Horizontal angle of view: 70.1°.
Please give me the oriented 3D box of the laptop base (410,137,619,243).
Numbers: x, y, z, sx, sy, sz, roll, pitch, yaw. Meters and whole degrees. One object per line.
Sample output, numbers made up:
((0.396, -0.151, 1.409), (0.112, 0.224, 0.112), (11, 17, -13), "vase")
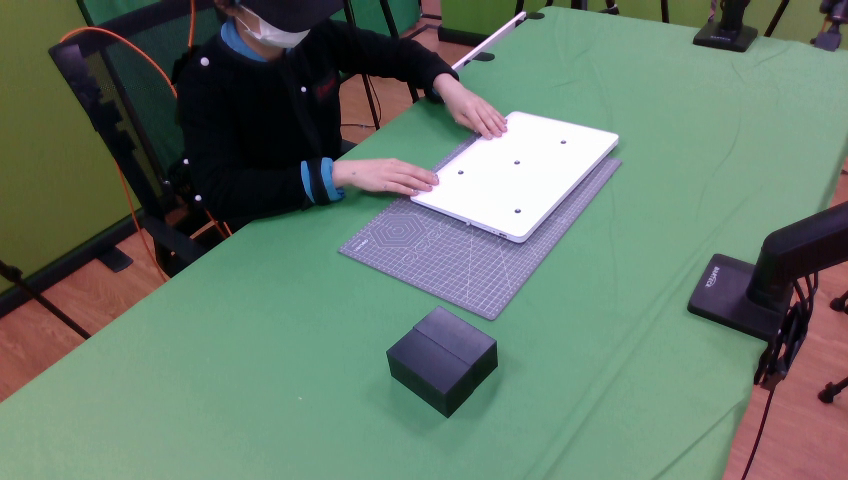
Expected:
((0.171, -0.126, 1.095), (0.233, 0.023, 0.355), (21, 47, 34), "laptop base")

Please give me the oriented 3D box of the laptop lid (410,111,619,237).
((0.168, -0.136, 1.089), (0.239, 0.013, 0.358), (23, 48, 34), "laptop lid")
